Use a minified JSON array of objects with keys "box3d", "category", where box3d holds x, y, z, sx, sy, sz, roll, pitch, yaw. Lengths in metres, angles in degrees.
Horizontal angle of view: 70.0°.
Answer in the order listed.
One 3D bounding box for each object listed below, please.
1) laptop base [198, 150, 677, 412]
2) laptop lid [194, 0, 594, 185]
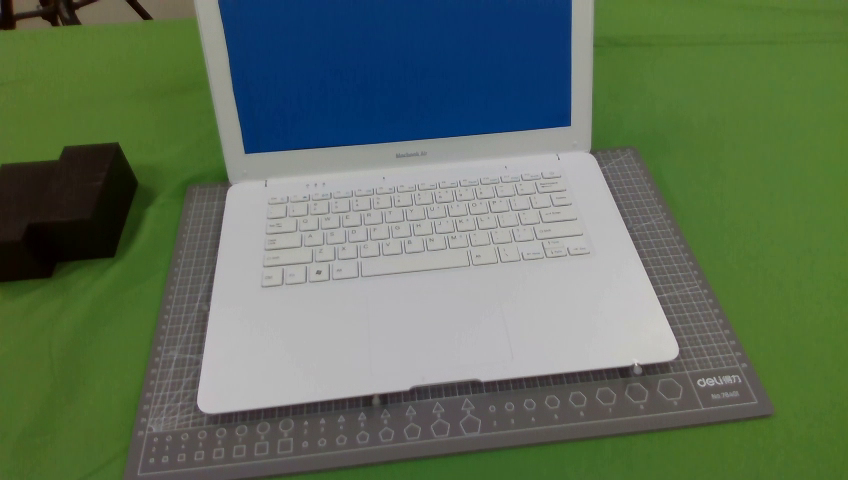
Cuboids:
[{"box3d":[0.002,0.021,0.514,0.355,0.023,0.233,-6,51,-3],"category":"laptop base"},{"box3d":[-0.019,-0.175,0.550,0.357,0.243,0.013,-7,20,-3],"category":"laptop lid"}]
